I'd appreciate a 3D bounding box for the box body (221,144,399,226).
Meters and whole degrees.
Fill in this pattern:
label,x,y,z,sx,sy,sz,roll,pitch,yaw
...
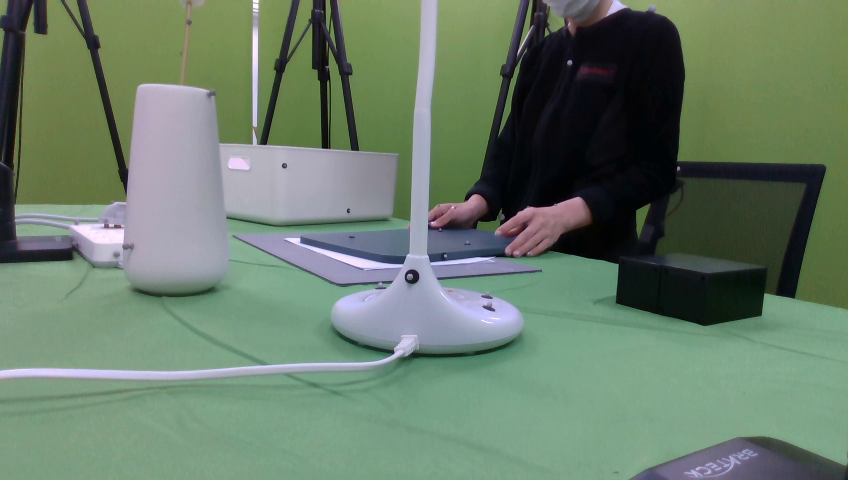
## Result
label,x,y,z,sx,sy,sz,roll,pitch,yaw
box body,-0.264,-0.129,1.380,0.253,0.160,0.366,8,9,39

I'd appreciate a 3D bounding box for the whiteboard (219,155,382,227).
label,x,y,z,sx,sy,sz,roll,pitch,yaw
whiteboard,-0.276,-0.119,1.376,0.216,0.143,0.307,7,10,39

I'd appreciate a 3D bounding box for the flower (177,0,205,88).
label,x,y,z,sx,sy,sz,roll,pitch,yaw
flower,-0.243,-0.131,0.609,0.044,0.361,0.038,-5,-12,11

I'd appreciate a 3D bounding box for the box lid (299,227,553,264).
label,x,y,z,sx,sy,sz,roll,pitch,yaw
box lid,0.008,0.004,1.001,0.374,0.015,0.262,-4,9,-42

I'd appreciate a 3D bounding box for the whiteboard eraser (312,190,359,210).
label,x,y,z,sx,sy,sz,roll,pitch,yaw
whiteboard eraser,-0.222,-0.099,1.517,0.112,0.042,0.056,9,17,33

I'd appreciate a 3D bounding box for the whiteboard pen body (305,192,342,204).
label,x,y,z,sx,sy,sz,roll,pitch,yaw
whiteboard pen body,-0.237,-0.099,1.429,0.017,0.017,0.140,-5,14,-45

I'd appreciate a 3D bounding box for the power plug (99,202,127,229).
label,x,y,z,sx,sy,sz,roll,pitch,yaw
power plug,-0.415,-0.026,0.848,0.073,0.052,0.035,6,5,-28

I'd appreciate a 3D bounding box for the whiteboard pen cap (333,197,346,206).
label,x,y,z,sx,sy,sz,roll,pitch,yaw
whiteboard pen cap,-0.195,-0.089,1.390,0.033,0.018,0.018,12,12,43

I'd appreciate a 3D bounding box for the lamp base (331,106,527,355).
label,x,y,z,sx,sy,sz,roll,pitch,yaw
lamp base,0.006,-0.012,0.478,0.161,0.180,0.179,2,10,2

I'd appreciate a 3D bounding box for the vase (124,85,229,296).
label,x,y,z,sx,sy,sz,roll,pitch,yaw
vase,-0.244,-0.047,0.598,0.098,0.200,0.098,3,8,0

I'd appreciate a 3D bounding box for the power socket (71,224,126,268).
label,x,y,z,sx,sy,sz,roll,pitch,yaw
power socket,-0.409,0.004,0.793,0.072,0.032,0.225,-2,8,-37
